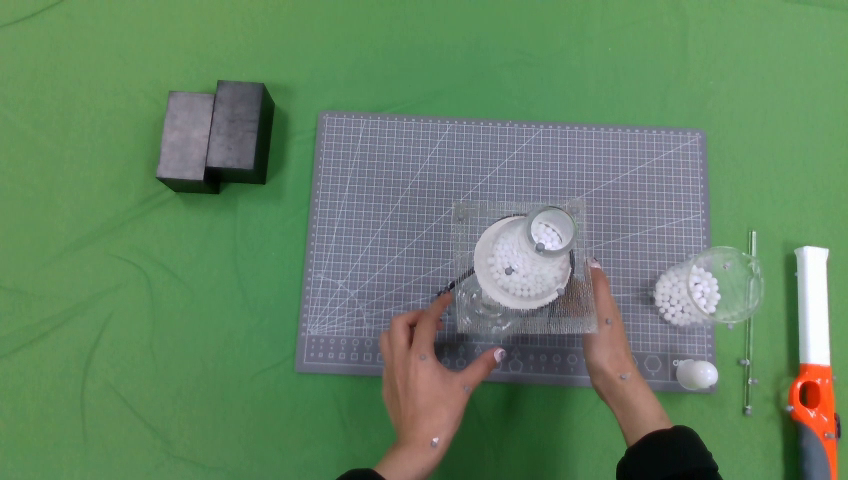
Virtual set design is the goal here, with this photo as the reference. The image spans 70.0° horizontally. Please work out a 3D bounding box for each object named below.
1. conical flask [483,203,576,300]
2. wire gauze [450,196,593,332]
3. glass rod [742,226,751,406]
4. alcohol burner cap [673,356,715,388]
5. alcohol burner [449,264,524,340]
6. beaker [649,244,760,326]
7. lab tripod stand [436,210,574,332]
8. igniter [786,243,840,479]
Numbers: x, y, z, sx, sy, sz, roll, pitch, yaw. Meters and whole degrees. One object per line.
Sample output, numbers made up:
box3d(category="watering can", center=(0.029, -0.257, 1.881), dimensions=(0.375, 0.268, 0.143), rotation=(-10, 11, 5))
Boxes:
box3d(category="conical flask", center=(0.088, 0.004, 0.481), dimensions=(0.075, 0.122, 0.075), rotation=(0, 78, 0))
box3d(category="wire gauze", center=(0.086, 0.021, 0.538), dimensions=(0.125, 0.011, 0.121), rotation=(0, 81, -3))
box3d(category="glass rod", center=(0.354, 0.080, 0.664), dimensions=(0.008, 0.008, 0.199), rotation=(7, 78, 1))
box3d(category="alcohol burner cap", center=(0.284, 0.137, 0.631), dimensions=(0.034, 0.048, 0.033), rotation=(0, 77, 0))
box3d(category="alcohol burner", center=(0.064, 0.059, 0.607), dimensions=(0.078, 0.119, 0.077), rotation=(0, 75, 0))
box3d(category="beaker", center=(0.283, 0.048, 0.620), dimensions=(0.084, 0.100, 0.073), rotation=(-33, 80, -8))
box3d(category="lab tripod stand", center=(0.085, 0.032, 0.603), dimensions=(0.148, 0.132, 0.148), rotation=(0, 80, 0))
box3d(category="igniter", center=(0.411, 0.139, 0.642), dimensions=(0.057, 0.025, 0.275), rotation=(8, 79, -9))
